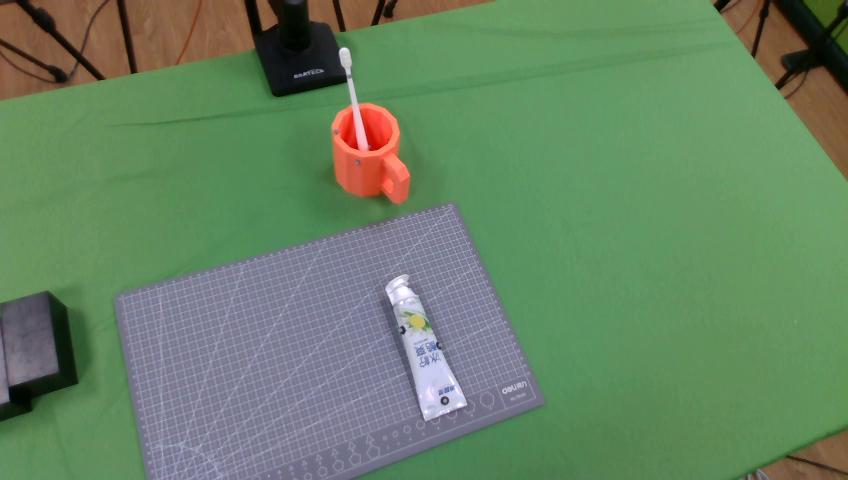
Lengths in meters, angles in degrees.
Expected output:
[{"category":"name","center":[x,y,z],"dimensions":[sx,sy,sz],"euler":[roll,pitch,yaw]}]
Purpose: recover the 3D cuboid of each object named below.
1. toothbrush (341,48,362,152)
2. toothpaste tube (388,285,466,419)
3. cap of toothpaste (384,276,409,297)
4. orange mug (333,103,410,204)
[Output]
[{"category":"toothbrush","center":[-0.089,-0.153,0.786],"dimensions":[0.014,0.183,0.016],"euler":[-23,32,-35]},{"category":"toothpaste tube","center":[-0.005,0.130,0.736],"dimensions":[0.055,0.035,0.164],"euler":[-20,71,-8]},{"category":"cap of toothpaste","center":[-0.033,0.059,0.762],"dimensions":[0.037,0.037,0.011],"euler":[-28,67,-19]},{"category":"orange mug","center":[-0.066,-0.108,0.811],"dimensions":[0.083,0.101,0.125],"euler":[-38,68,-22]}]
